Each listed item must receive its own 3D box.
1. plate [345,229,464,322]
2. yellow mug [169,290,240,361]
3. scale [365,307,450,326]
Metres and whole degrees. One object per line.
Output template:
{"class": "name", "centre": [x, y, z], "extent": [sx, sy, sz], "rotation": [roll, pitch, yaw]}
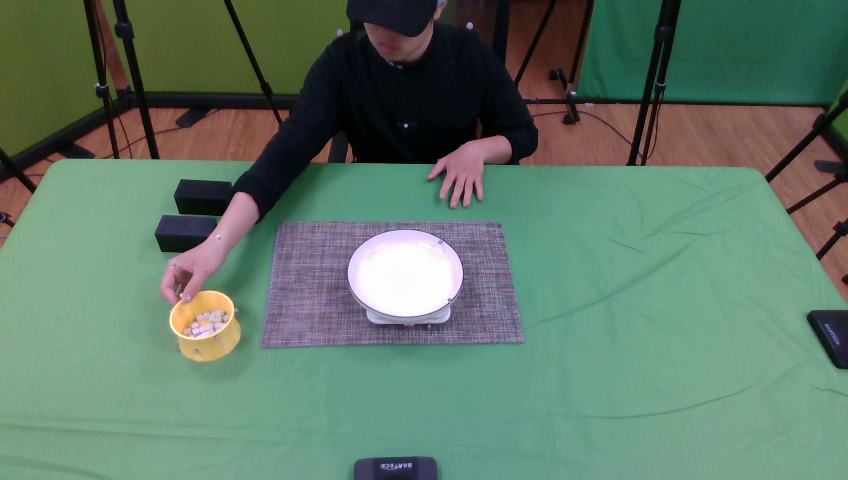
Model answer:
{"class": "plate", "centre": [-0.034, 0.065, 1.073], "extent": [0.209, 0.038, 0.208], "rotation": [2, 46, -2]}
{"class": "yellow mug", "centre": [-0.372, 0.132, 1.010], "extent": [0.130, 0.064, 0.100], "rotation": [35, 53, 28]}
{"class": "scale", "centre": [-0.032, 0.071, 1.113], "extent": [0.149, 0.032, 0.199], "rotation": [1, 46, -4]}
